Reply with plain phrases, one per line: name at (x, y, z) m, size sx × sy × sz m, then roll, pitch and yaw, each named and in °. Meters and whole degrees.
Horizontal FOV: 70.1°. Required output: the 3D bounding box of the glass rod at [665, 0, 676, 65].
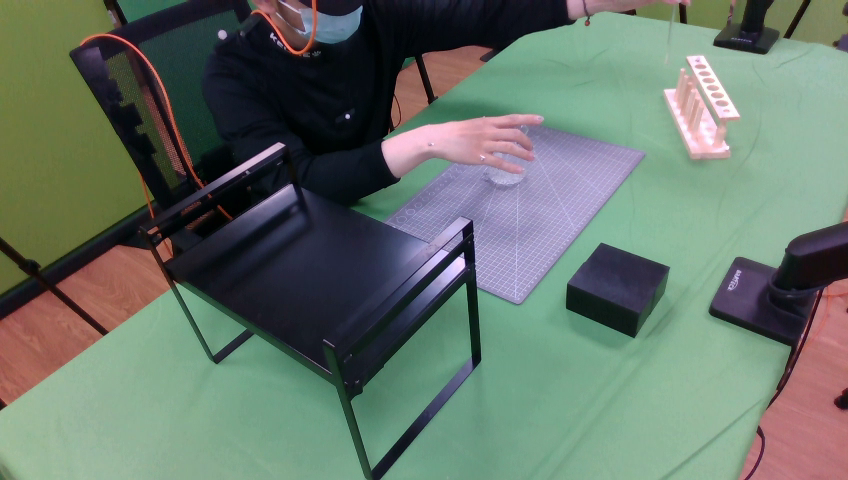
glass rod at (0.415, -0.382, 1.010) m, size 0.008 × 0.201 × 0.008 m, roll -7°, pitch 44°, yaw 7°

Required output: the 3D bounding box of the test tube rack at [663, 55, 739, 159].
test tube rack at (0.517, -0.256, 1.144) m, size 0.066 × 0.085 × 0.241 m, roll -1°, pitch 41°, yaw 8°

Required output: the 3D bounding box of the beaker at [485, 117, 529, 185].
beaker at (0.149, -0.155, 1.066) m, size 0.084 × 0.101 × 0.073 m, roll -30°, pitch 46°, yaw -25°
